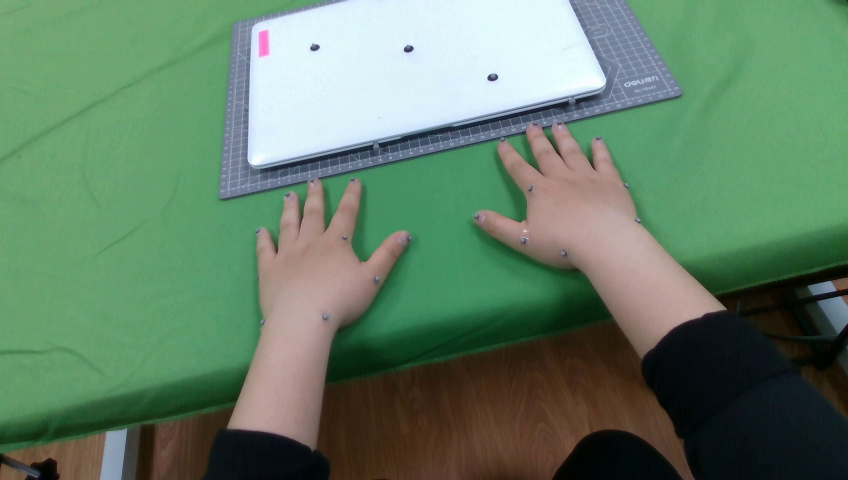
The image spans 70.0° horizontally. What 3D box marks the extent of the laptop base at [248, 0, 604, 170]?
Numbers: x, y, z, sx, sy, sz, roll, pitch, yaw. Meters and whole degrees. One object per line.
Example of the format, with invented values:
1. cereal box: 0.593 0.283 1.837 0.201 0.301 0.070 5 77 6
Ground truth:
1. laptop base: -0.015 -0.191 0.650 0.354 0.023 0.233 -12 56 2

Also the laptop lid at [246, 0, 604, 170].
1. laptop lid: -0.016 -0.196 0.639 0.356 0.013 0.239 -11 55 3
